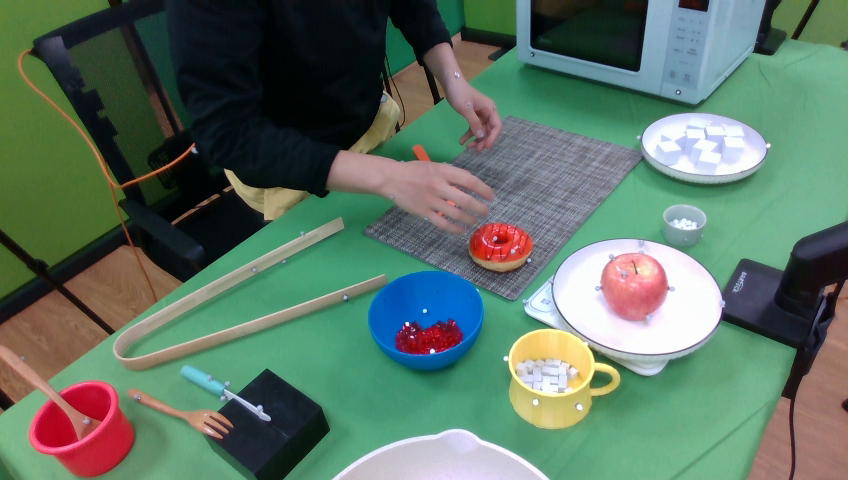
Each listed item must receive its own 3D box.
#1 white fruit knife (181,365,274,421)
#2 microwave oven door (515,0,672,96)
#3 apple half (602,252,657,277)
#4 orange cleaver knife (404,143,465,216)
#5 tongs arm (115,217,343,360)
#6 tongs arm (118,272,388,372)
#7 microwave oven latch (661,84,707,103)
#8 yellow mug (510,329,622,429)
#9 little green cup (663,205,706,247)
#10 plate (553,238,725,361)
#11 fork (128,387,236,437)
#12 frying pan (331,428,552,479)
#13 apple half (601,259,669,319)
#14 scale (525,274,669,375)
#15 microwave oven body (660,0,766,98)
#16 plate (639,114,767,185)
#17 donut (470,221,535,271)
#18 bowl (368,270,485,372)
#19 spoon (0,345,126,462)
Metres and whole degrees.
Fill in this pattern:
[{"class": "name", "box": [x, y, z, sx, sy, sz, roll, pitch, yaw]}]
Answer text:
[{"class": "white fruit knife", "box": [-0.245, 0.187, 0.747, 0.205, 0.027, 0.016, 9, 41, 40]}, {"class": "microwave oven door", "box": [0.344, -0.455, 1.259, 0.353, 0.245, 0.039, 26, 51, 33]}, {"class": "apple half", "box": [0.263, 0.042, 0.784, 0.081, 0.081, 0.032, -9, 43, -1]}, {"class": "orange cleaver knife", "box": [0.005, -0.113, 1.103, 0.077, 0.012, 0.209, -23, 45, -9]}, {"class": "tongs arm", "box": [-0.280, 0.069, 0.927, 0.386, 0.026, 0.050, -29, 49, -23]}, {"class": "tongs arm", "box": [-0.235, 0.115, 0.870, 0.389, 0.028, 0.028, -19, 49, -13]}, {"class": "microwave oven latch", "box": [0.516, -0.296, 1.204, 0.078, 0.029, 0.030, 24, 50, 33]}, {"class": "yellow mug", "box": [0.168, 0.164, 0.721, 0.130, 0.064, 0.099, 0, 40, 8]}, {"class": "little green cup", "box": [0.396, -0.020, 0.926, 0.061, 0.039, 0.061, -4, 40, 4]}, {"class": "plate", "box": [0.273, 0.078, 0.783, 0.209, 0.038, 0.208, -4, 41, 4]}, {"class": "fork", "box": [-0.305, 0.207, 0.744, 0.206, 0.019, 0.028, 3, 41, 36]}, {"class": "frying pan", "box": [-0.089, 0.305, 0.564, 0.487, 0.103, 0.306, 10, 41, 7]}, {"class": "apple half", "box": [0.267, 0.068, 0.756, 0.081, 0.075, 0.053, -6, 43, -2]}, {"class": "scale", "box": [0.254, 0.091, 0.821, 0.199, 0.032, 0.149, 28, 51, 35]}, {"class": "microwave oven body", "box": [0.472, -0.513, 1.317, 0.438, 0.261, 0.327, 26, 51, 34]}, {"class": "plate", "box": [0.489, -0.157, 1.074, 0.207, 0.039, 0.206, -4, 40, 4]}, {"class": "donut", "box": [0.119, 0.009, 0.923, 0.099, 0.048, 0.098, -3, 39, 3]}, {"class": "bowl", "box": [0.007, 0.118, 0.791, 0.151, 0.077, 0.150, -4, 40, 4]}, {"class": "spoon", "box": [-0.434, 0.192, 0.720, 0.194, 0.021, 0.042, 47, 53, -6]}]
